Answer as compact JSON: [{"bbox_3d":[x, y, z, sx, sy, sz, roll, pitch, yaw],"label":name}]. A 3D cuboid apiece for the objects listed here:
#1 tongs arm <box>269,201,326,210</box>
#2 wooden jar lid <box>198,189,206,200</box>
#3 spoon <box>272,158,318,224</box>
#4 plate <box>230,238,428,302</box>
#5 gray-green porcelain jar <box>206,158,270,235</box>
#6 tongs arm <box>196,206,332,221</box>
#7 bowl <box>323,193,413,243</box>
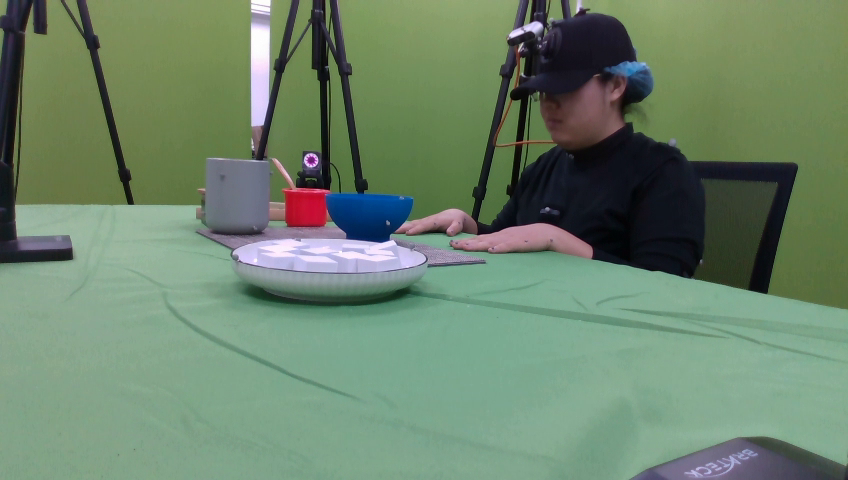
[{"bbox_3d":[-0.308,-0.073,1.410,0.386,0.026,0.050,3,8,-6],"label":"tongs arm"},{"bbox_3d":[-0.382,-0.088,1.175,0.108,0.020,0.108,3,8,0],"label":"wooden jar lid"},{"bbox_3d":[-0.268,-0.103,1.236,0.042,0.193,0.021,-9,-32,-40],"label":"spoon"},{"bbox_3d":[-0.099,0.032,0.651,0.209,0.038,0.209,3,8,0],"label":"plate"},{"bbox_3d":[-0.322,-0.076,1.048,0.106,0.126,0.106,3,7,0],"label":"gray-green porcelain jar"},{"bbox_3d":[-0.294,-0.058,1.331,0.389,0.028,0.028,0,5,-20],"label":"tongs arm"},{"bbox_3d":[-0.094,-0.037,1.015,0.151,0.077,0.151,2,7,0],"label":"bowl"}]
